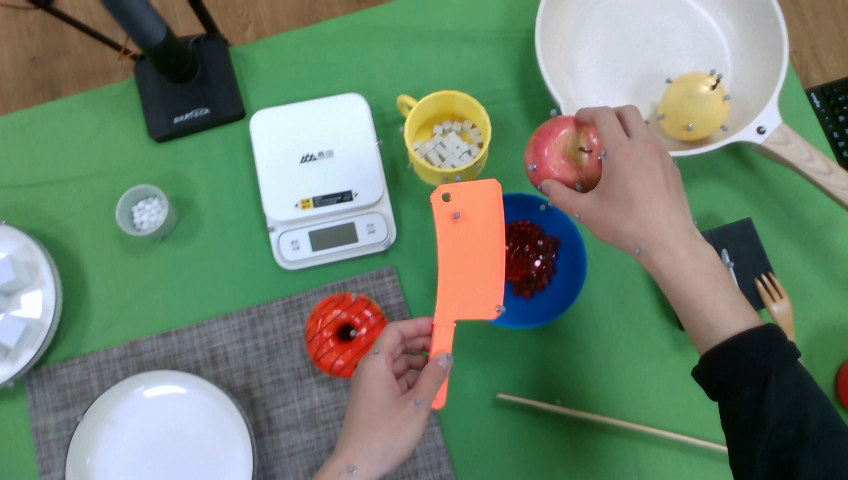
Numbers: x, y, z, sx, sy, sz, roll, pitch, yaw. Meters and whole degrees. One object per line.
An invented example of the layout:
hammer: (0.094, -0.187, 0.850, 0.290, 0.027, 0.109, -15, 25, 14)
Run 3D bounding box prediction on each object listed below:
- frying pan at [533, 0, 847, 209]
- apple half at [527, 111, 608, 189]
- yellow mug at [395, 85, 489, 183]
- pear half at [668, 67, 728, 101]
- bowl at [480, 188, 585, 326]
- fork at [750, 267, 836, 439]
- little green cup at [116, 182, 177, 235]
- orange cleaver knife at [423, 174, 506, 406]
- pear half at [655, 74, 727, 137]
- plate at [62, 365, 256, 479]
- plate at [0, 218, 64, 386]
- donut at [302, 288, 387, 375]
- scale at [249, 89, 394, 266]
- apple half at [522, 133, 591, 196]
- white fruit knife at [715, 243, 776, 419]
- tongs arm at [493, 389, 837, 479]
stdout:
frying pan: (0.344, -0.164, 0.701, 0.306, 0.103, 0.484, -43, 73, -6)
apple half: (0.144, -0.092, 0.587, 0.081, 0.075, 0.053, 42, 82, 0)
yellow mug: (0.014, -0.133, 0.721, 0.130, 0.064, 0.100, 41, 83, 9)
pear half: (0.322, -0.183, 0.708, 0.070, 0.088, 0.031, 18, 82, 8)
bowl: (0.099, 0.024, 0.684, 0.151, 0.077, 0.150, 0, 79, 1)
fork: (0.408, 0.126, 0.665, 0.028, 0.018, 0.207, -25, 95, -6)
little green cup: (-0.328, -0.035, 0.723, 0.061, 0.039, 0.061, 0, 79, 2)
orange cleaver knife: (0.036, 0.041, 0.541, 0.077, 0.012, 0.210, 6, 83, -12)
pear half: (0.307, -0.153, 0.693, 0.076, 0.110, 0.056, 20, 80, 9)
plate: (-0.285, 0.242, 0.666, 0.209, 0.038, 0.208, 0, 80, 1)
plate: (-0.519, 0.075, 0.706, 0.208, 0.039, 0.206, 0, 79, 1)
donut: (-0.090, 0.103, 0.685, 0.099, 0.048, 0.098, -1, 80, 4)
scale: (-0.124, -0.078, 0.731, 0.149, 0.031, 0.200, -12, 80, -1)
apple half: (0.119, -0.063, 0.582, 0.081, 0.081, 0.033, 41, 82, 9)
white fruit knife: (0.350, 0.102, 0.663, 0.016, 0.027, 0.207, -18, 94, -2)
tongs arm: (0.265, 0.218, 0.668, 0.387, 0.028, 0.028, 14, 72, 3)
